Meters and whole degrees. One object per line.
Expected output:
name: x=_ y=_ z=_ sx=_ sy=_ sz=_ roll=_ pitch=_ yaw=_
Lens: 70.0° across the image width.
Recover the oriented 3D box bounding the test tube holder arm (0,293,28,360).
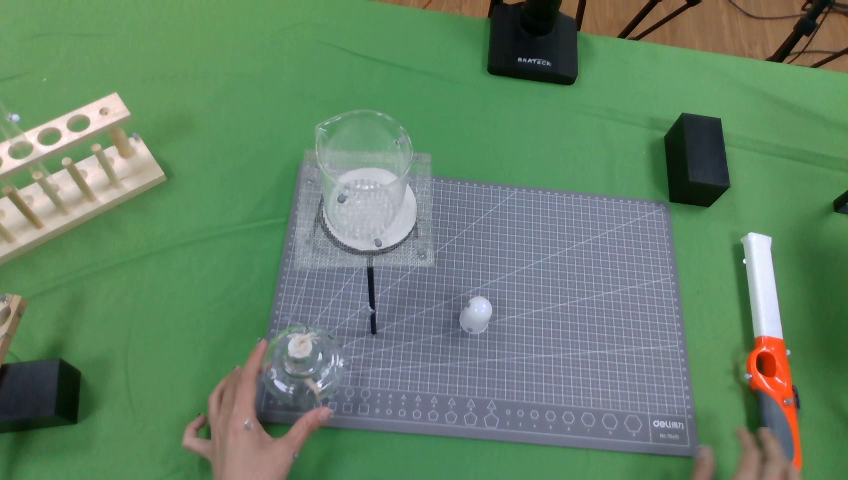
test tube holder arm: x=-0.379 y=0.090 z=0.541 sx=0.010 sy=0.015 sz=0.087 roll=9 pitch=63 yaw=-2

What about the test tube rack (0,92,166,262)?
test tube rack: x=-0.405 y=-0.051 z=0.621 sx=0.242 sy=0.086 sz=0.066 roll=-33 pitch=72 yaw=-20

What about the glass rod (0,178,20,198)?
glass rod: x=-0.429 y=-0.089 z=0.562 sx=0.008 sy=0.201 sz=0.008 roll=0 pitch=58 yaw=0

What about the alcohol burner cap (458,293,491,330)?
alcohol burner cap: x=0.054 y=0.073 z=0.636 sx=0.034 sy=0.048 sz=0.033 roll=2 pitch=67 yaw=-3

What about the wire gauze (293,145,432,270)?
wire gauze: x=-0.054 y=-0.032 z=0.550 sx=0.121 sy=0.011 sz=0.124 roll=1 pitch=68 yaw=-5

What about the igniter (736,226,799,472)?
igniter: x=0.374 y=0.111 z=0.664 sx=0.057 sy=0.025 sz=0.274 roll=12 pitch=64 yaw=-9

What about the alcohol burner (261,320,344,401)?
alcohol burner: x=-0.113 y=0.106 z=0.560 sx=0.078 sy=0.120 sz=0.077 roll=3 pitch=63 yaw=-6

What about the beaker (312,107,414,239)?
beaker: x=-0.054 y=-0.052 z=0.504 sx=0.084 sy=0.101 sz=0.073 roll=29 pitch=65 yaw=7

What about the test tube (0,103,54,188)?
test tube: x=-0.396 y=-0.096 z=0.589 sx=0.017 sy=0.151 sz=0.017 roll=3 pitch=59 yaw=-5

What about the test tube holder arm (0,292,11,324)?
test tube holder arm: x=-0.390 y=0.129 z=0.520 sx=0.013 sy=0.015 sz=0.177 roll=8 pitch=63 yaw=-2

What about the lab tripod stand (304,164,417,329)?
lab tripod stand: x=-0.058 y=0.001 z=0.606 sx=0.149 sy=0.132 sz=0.147 roll=3 pitch=65 yaw=-7
